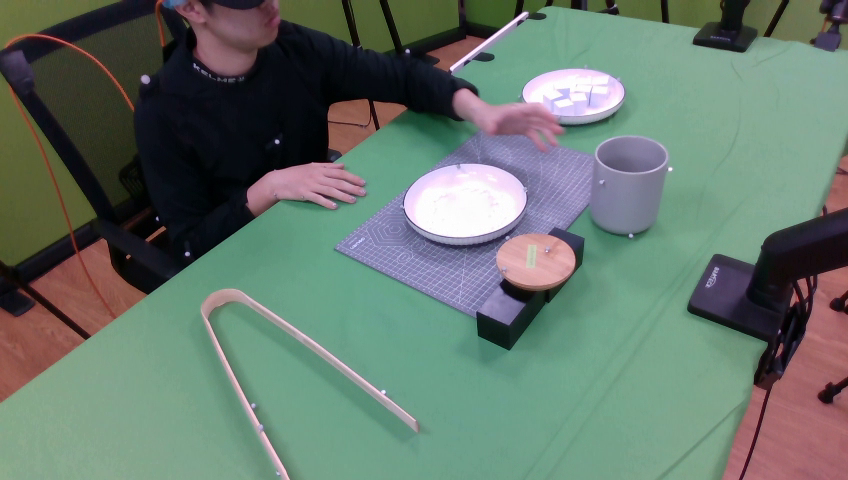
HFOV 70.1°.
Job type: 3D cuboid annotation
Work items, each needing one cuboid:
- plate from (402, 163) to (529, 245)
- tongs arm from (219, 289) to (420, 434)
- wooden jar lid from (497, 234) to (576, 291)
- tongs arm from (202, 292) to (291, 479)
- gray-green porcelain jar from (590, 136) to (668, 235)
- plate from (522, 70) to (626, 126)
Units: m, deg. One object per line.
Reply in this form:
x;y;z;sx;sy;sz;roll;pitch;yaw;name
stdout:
0.070;-0.056;1.008;0.209;0.038;0.208;-4;40;4;plate
-0.152;0.151;0.812;0.384;0.028;0.028;26;53;33;tongs arm
0.155;0.032;0.834;0.108;0.021;0.108;-5;40;4;wooden jar lid
-0.216;0.187;0.772;0.051;0.026;0.381;-27;43;-24;tongs arm
0.314;-0.080;0.937;0.106;0.127;0.105;-4;41;4;gray-green porcelain jar
0.308;-0.290;1.251;0.207;0.039;0.206;-4;40;4;plate
